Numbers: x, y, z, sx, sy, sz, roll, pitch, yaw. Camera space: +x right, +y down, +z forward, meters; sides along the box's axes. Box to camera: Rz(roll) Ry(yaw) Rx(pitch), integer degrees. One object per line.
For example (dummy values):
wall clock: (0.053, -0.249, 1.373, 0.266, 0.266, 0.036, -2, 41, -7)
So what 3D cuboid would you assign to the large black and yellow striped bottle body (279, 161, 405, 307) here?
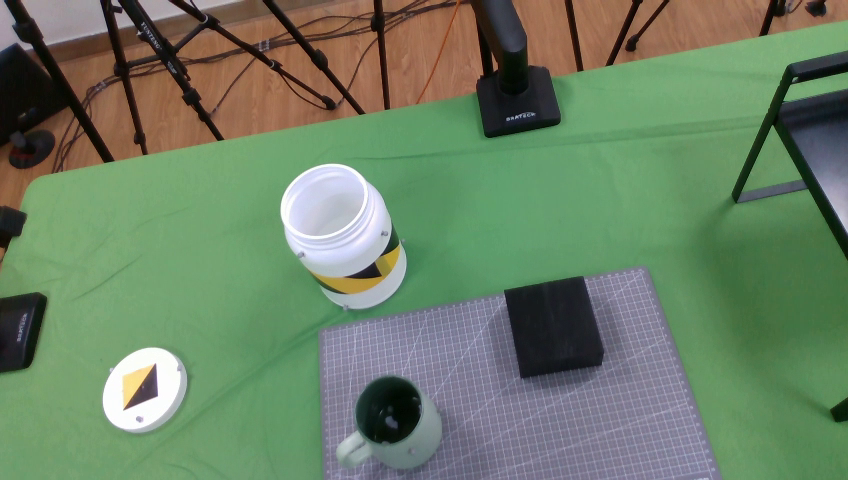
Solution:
large black and yellow striped bottle body: (-0.104, -0.005, 0.794, 0.130, 0.186, 0.129, -5, 60, 9)

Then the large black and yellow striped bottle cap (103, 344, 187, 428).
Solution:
large black and yellow striped bottle cap: (-0.383, 0.198, 0.830, 0.115, 0.019, 0.114, -5, 59, 8)

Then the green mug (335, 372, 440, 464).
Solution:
green mug: (-0.045, 0.216, 0.701, 0.125, 0.106, 0.091, -34, 60, -9)
